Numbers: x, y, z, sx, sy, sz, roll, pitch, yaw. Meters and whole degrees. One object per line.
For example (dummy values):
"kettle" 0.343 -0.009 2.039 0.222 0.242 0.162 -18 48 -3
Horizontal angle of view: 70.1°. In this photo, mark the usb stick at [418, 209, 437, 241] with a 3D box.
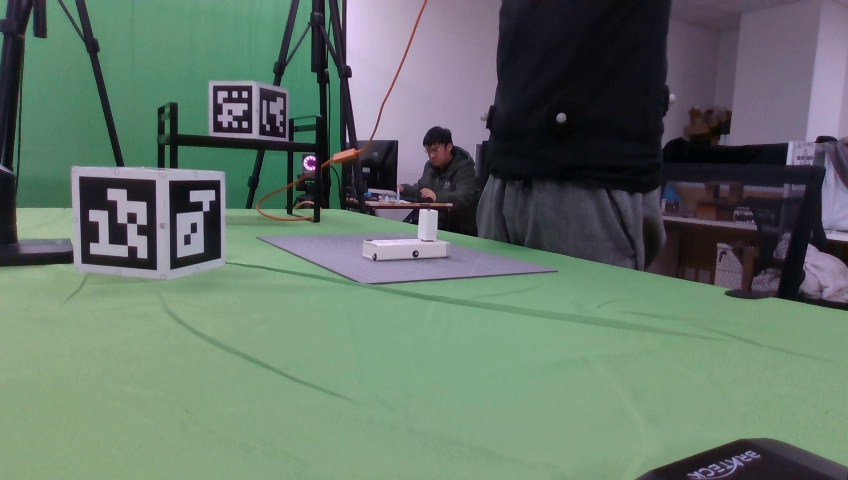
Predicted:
"usb stick" 0.005 -0.016 0.903 0.021 0.059 0.027 -4 6 -33

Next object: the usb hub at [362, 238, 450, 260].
"usb hub" -0.026 0.013 0.894 0.126 0.025 0.049 -1 8 -31
